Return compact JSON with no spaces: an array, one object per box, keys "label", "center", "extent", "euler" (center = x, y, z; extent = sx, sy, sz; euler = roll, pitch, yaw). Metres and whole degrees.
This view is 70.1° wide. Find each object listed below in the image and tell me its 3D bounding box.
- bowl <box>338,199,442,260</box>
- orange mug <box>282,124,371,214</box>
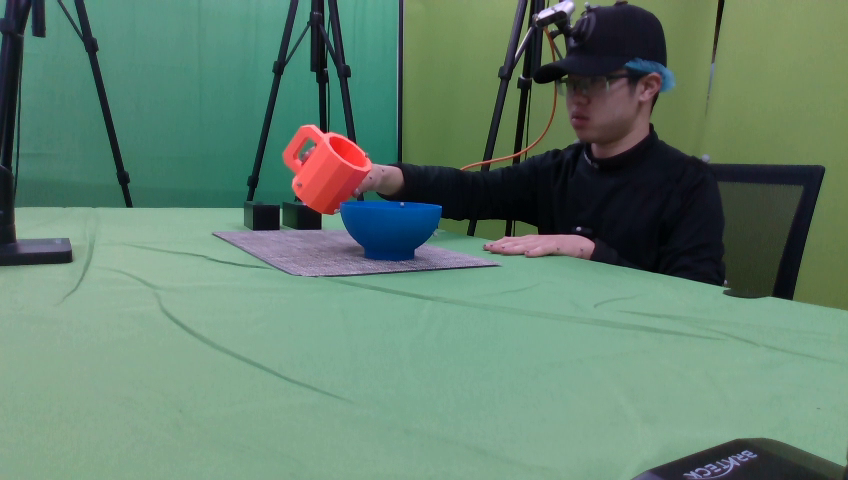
[{"label":"bowl","center":[-0.050,-0.015,0.878],"extent":[0.151,0.077,0.151],"euler":[2,8,0]},{"label":"orange mug","center":[-0.155,-0.116,0.933],"extent":[0.126,0.100,0.083],"euler":[47,25,-1]}]
